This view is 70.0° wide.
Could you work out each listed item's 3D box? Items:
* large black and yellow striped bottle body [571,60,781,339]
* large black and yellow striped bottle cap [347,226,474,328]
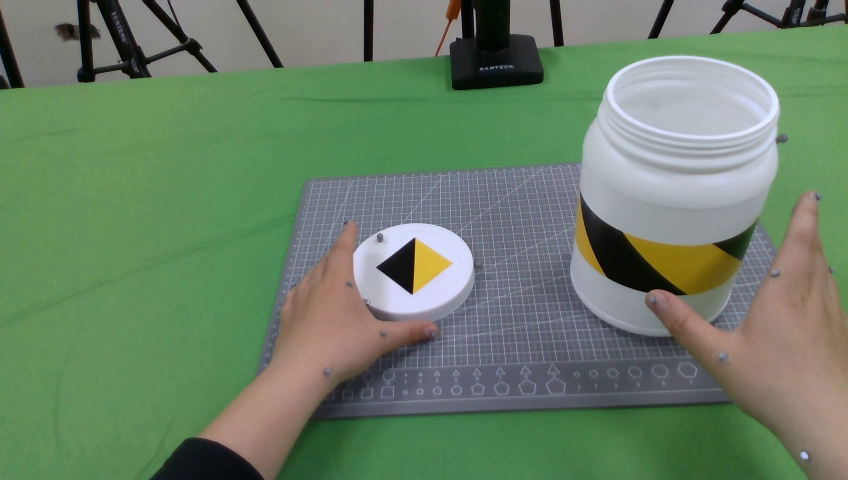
[{"bbox_3d":[0.184,-0.028,0.462,0.131,0.186,0.129,-4,43,4],"label":"large black and yellow striped bottle body"},{"bbox_3d":[-0.012,0.030,0.547,0.115,0.019,0.114,-2,44,3],"label":"large black and yellow striped bottle cap"}]
